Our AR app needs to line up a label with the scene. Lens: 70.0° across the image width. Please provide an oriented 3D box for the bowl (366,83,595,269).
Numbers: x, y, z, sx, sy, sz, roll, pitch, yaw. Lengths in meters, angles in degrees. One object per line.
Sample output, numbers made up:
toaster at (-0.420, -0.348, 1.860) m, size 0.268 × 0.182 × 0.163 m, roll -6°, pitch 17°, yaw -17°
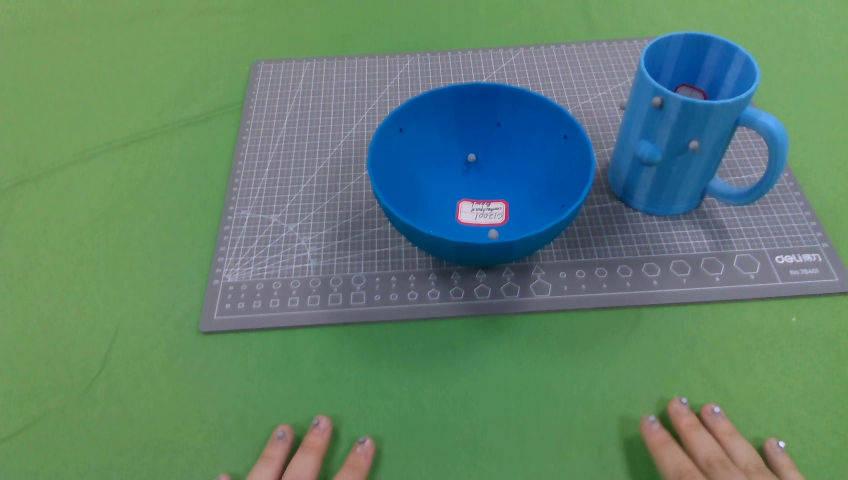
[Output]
bowl at (0.038, -0.032, 0.428) m, size 0.151 × 0.077 × 0.150 m, roll -1°, pitch 53°, yaw 2°

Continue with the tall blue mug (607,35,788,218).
tall blue mug at (0.196, -0.075, 0.434) m, size 0.107 × 0.109 × 0.077 m, roll 12°, pitch 53°, yaw 12°
